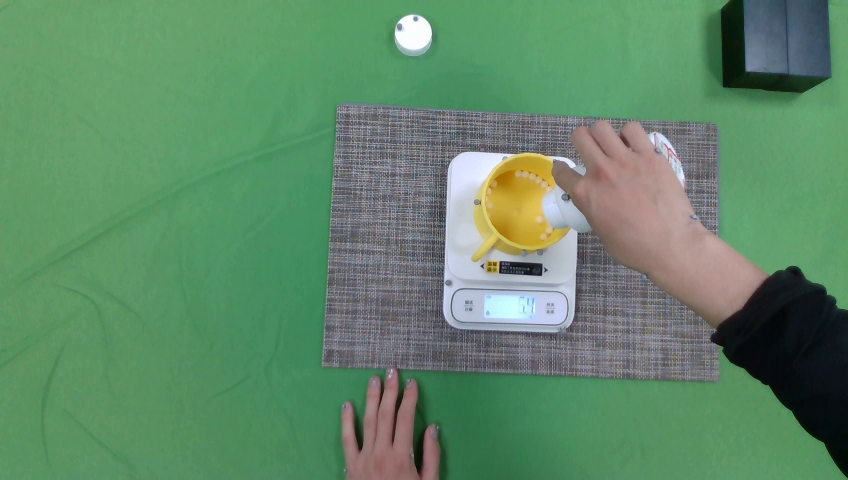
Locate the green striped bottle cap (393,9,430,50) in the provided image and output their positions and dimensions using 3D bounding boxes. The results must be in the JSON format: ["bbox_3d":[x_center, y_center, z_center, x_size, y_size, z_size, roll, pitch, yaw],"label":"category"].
[{"bbox_3d":[-0.015,-0.247,0.712,0.044,0.020,0.044,0,87,-2],"label":"green striped bottle cap"}]

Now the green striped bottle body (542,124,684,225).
[{"bbox_3d":[0.168,-0.054,0.556,0.119,0.063,0.063,-23,84,40],"label":"green striped bottle body"}]

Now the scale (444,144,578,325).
[{"bbox_3d":[0.099,-0.006,0.682,0.149,0.031,0.200,2,85,-2],"label":"scale"}]

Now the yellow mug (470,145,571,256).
[{"bbox_3d":[0.094,-0.032,0.636,0.100,0.064,0.131,42,85,2],"label":"yellow mug"}]
